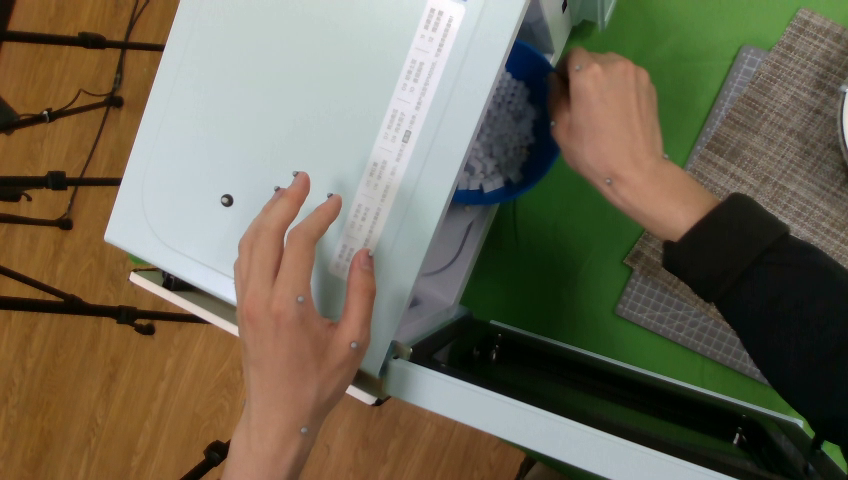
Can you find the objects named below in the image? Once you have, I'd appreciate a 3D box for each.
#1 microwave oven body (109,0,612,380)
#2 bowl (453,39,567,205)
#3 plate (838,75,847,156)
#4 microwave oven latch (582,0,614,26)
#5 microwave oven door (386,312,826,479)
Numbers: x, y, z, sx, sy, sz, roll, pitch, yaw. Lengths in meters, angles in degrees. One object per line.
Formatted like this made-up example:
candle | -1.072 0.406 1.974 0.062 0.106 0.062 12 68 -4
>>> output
microwave oven body | -0.040 -0.150 0.573 0.324 0.261 0.442 23 99 14
bowl | 0.061 -0.106 0.568 0.151 0.077 0.151 0 91 17
plate | 0.483 -0.114 0.536 0.208 0.038 0.209 0 91 16
microwave oven latch | 0.183 -0.259 0.604 0.030 0.029 0.079 24 99 14
microwave oven door | 0.170 0.145 0.518 0.354 0.244 0.039 15 95 15
